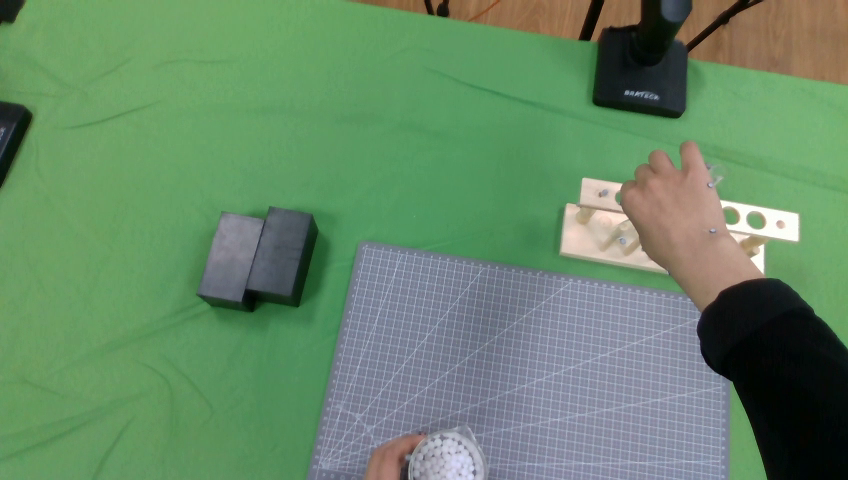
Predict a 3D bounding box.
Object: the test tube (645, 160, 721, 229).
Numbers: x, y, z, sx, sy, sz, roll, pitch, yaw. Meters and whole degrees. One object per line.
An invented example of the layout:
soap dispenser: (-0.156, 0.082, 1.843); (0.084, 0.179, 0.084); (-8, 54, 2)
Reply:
test tube: (0.282, -0.045, 0.669); (0.017, 0.151, 0.017); (2, 68, -4)

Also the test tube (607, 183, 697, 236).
test tube: (0.228, -0.029, 0.618); (0.017, 0.150, 0.017); (3, 76, -11)

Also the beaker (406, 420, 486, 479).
beaker: (0.021, 0.224, 0.610); (0.074, 0.101, 0.083); (24, 71, 6)

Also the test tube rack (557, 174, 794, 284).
test tube rack: (0.288, -0.010, 0.710); (0.242, 0.085, 0.066); (10, 70, 2)
